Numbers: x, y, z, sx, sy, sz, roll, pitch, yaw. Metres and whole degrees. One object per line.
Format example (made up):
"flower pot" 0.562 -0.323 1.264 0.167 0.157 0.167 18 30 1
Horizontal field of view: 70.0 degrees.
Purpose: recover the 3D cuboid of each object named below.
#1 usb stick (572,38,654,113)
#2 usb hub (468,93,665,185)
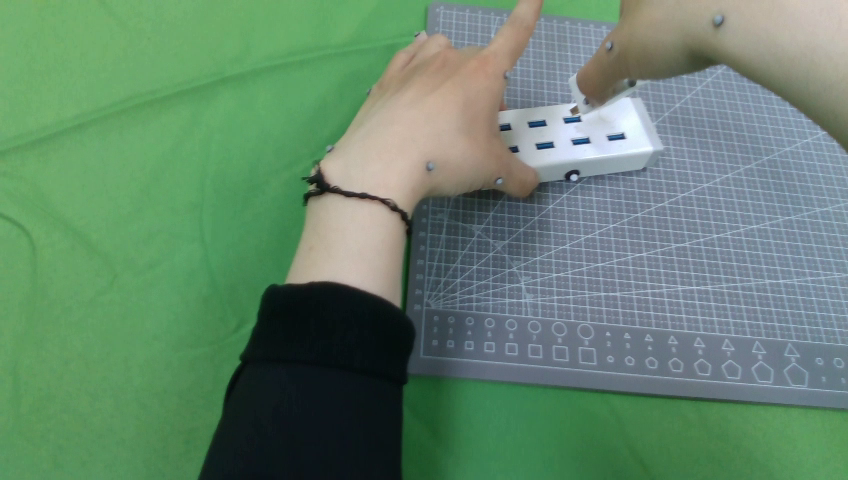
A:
"usb stick" 0.111 -0.098 0.374 0.021 0.059 0.027 -26 87 -22
"usb hub" 0.096 -0.070 0.412 0.125 0.025 0.049 -8 64 -11
